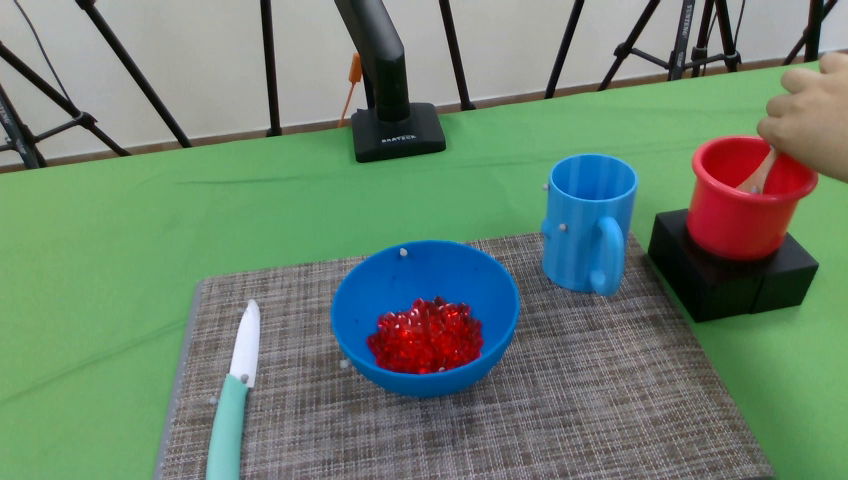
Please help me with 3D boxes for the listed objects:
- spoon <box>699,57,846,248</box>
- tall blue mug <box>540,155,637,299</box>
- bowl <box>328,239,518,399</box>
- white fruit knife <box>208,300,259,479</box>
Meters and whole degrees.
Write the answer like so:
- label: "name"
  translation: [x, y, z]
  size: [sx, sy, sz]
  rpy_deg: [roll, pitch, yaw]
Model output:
- label: "spoon"
  translation: [0.306, -0.075, 0.526]
  size: [0.041, 0.022, 0.194]
  rpy_deg: [39, 101, 39]
- label: "tall blue mug"
  translation: [0.160, -0.006, 0.559]
  size: [0.078, 0.109, 0.106]
  rpy_deg: [-27, 44, -24]
- label: "bowl"
  translation: [0.002, 0.078, 0.502]
  size: [0.151, 0.077, 0.150]
  rpy_deg: [-3, 41, 3]
- label: "white fruit knife"
  translation: [-0.158, 0.124, 0.516]
  size: [0.027, 0.016, 0.205]
  rpy_deg: [17, 34, -20]
